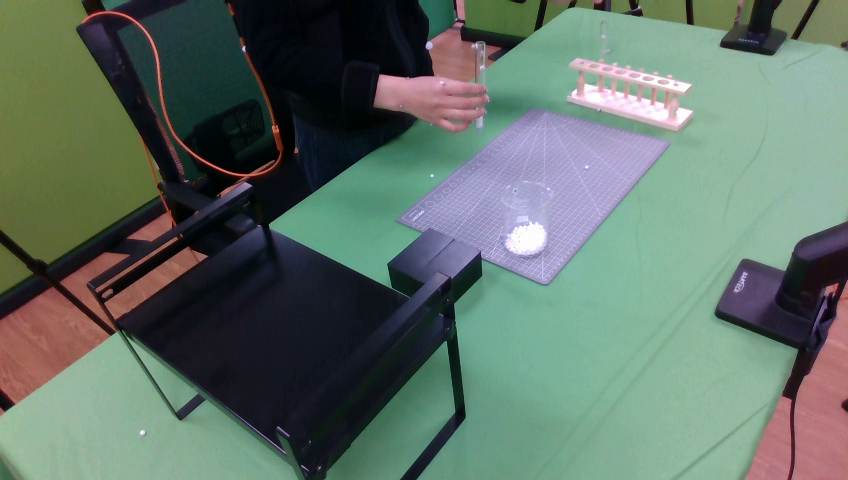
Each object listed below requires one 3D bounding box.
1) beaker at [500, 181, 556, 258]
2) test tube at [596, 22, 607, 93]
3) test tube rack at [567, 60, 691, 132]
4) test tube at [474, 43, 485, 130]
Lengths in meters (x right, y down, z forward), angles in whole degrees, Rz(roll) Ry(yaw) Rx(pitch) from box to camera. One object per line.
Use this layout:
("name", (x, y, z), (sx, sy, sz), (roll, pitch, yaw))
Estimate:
("beaker", (0.159, -0.030, 0.922), (0.084, 0.100, 0.073), (-13, 41, -8))
("test tube", (0.364, -0.372, 1.240), (0.017, 0.151, 0.017), (-6, 40, 5))
("test tube rack", (0.411, -0.299, 1.217), (0.240, 0.085, 0.067), (26, 51, 34))
("test tube", (0.092, -0.253, 1.005), (0.017, 0.151, 0.017), (-2, 38, 2))
